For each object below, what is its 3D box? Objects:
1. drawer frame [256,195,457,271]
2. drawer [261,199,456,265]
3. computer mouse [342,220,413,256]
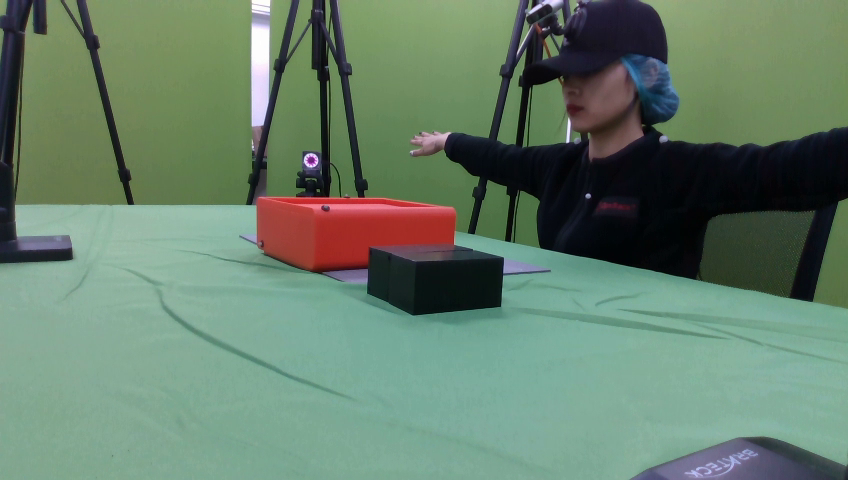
[{"bbox_3d":[-0.097,-0.017,0.843,0.215,0.082,0.200,-4,10,-35],"label":"drawer frame"},{"bbox_3d":[-0.094,-0.017,0.844,0.213,0.073,0.193,-3,10,-34],"label":"drawer"},{"bbox_3d":[-0.067,-0.004,0.853,0.063,0.041,0.116,1,13,-33],"label":"computer mouse"}]
